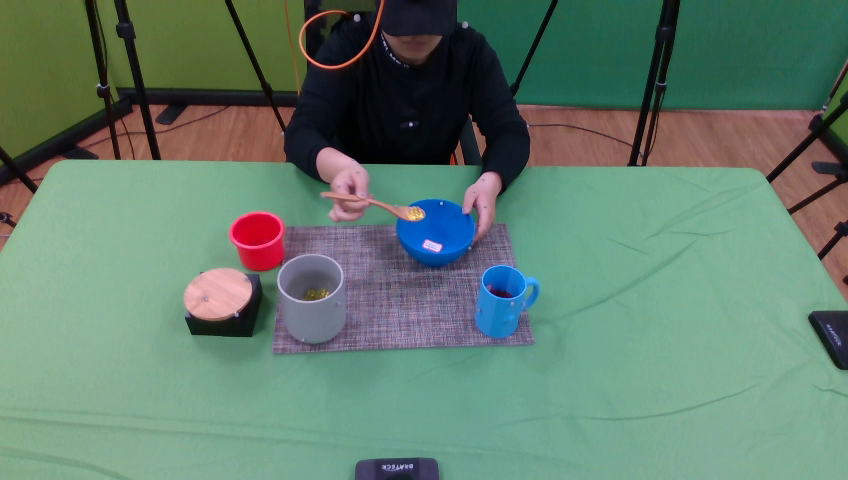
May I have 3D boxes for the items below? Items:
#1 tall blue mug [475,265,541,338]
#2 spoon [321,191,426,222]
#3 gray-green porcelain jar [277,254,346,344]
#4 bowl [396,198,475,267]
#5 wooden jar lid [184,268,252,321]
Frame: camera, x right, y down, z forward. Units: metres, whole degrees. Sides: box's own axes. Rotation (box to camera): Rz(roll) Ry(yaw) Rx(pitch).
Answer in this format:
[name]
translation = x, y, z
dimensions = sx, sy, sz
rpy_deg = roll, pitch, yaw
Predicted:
[tall blue mug]
translation = 0.142, 0.099, 1.047
dimensions = 0.077, 0.108, 0.107
rpy_deg = 33, 52, 27
[spoon]
translation = -0.085, -0.062, 1.053
dimensions = 0.194, 0.022, 0.041
rpy_deg = 15, 37, -27
[gray-green porcelain jar]
translation = -0.184, 0.102, 1.008
dimensions = 0.106, 0.127, 0.105
rpy_deg = 2, 46, -2
[bowl]
translation = 0.020, -0.002, 1.157
dimensions = 0.151, 0.077, 0.150
rpy_deg = 2, 46, -2
[wooden jar lid]
translation = -0.343, 0.093, 1.015
dimensions = 0.108, 0.021, 0.107
rpy_deg = 3, 46, -3
